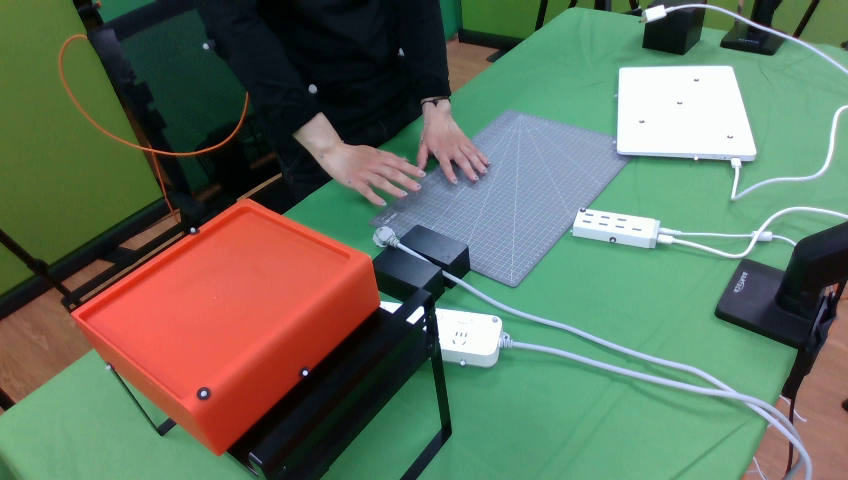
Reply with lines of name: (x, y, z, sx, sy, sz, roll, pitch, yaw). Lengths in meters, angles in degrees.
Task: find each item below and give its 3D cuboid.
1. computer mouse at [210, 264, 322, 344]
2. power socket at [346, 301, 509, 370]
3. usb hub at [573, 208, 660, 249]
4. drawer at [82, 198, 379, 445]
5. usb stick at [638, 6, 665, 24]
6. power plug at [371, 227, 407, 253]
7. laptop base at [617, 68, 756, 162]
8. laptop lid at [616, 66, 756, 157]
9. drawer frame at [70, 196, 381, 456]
computer mouse: (-0.164, 0.062, 0.624, 0.116, 0.041, 0.063, 22, 45, 27)
power socket: (-0.001, 0.126, 0.817, 0.226, 0.033, 0.072, 7, 43, 15)
usb hub: (0.302, -0.019, 0.949, 0.124, 0.025, 0.049, 11, 43, 20)
drawer: (-0.185, 0.066, 0.600, 0.193, 0.073, 0.212, 24, 50, 31)
usb stick: (0.503, -0.499, 1.347, 0.059, 0.027, 0.021, -21, 5, -1)
power plug: (-0.054, 0.009, 0.929, 0.035, 0.053, 0.072, -34, 64, -5)
laptop base: (0.507, -0.256, 1.204, 0.235, 0.023, 0.353, 3, 41, 16)
laptop lid: (0.503, -0.265, 1.196, 0.241, 0.013, 0.356, 5, 41, 16)
drawer frame: (-0.186, 0.068, 0.597, 0.200, 0.083, 0.214, 23, 49, 30)
